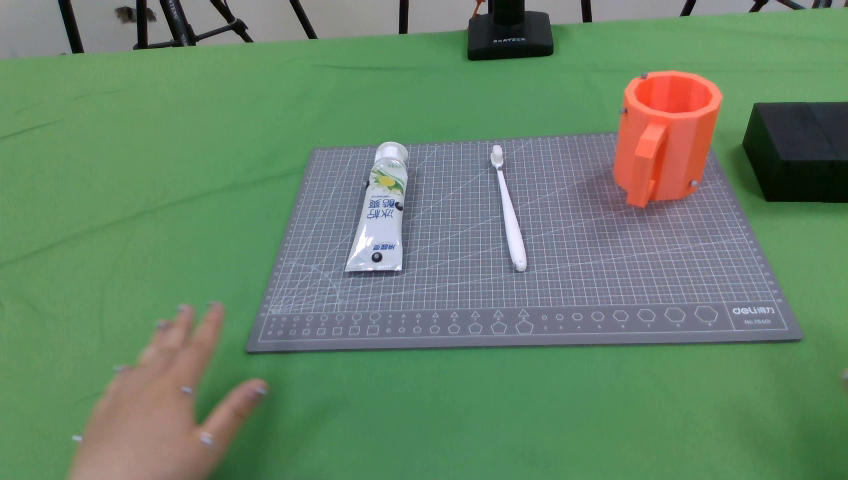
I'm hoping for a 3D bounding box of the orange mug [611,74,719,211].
[{"bbox_3d":[0.225,-0.089,0.586,0.083,0.102,0.126,19,45,26],"label":"orange mug"}]

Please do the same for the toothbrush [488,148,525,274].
[{"bbox_3d":[0.082,-0.035,0.608,0.014,0.017,0.180,3,44,-7],"label":"toothbrush"}]

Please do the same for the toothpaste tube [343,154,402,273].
[{"bbox_3d":[-0.046,-0.031,0.614,0.055,0.035,0.163,-6,47,9],"label":"toothpaste tube"}]

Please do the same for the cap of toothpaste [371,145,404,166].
[{"bbox_3d":[-0.040,-0.089,0.664,0.037,0.038,0.011,1,50,8],"label":"cap of toothpaste"}]
